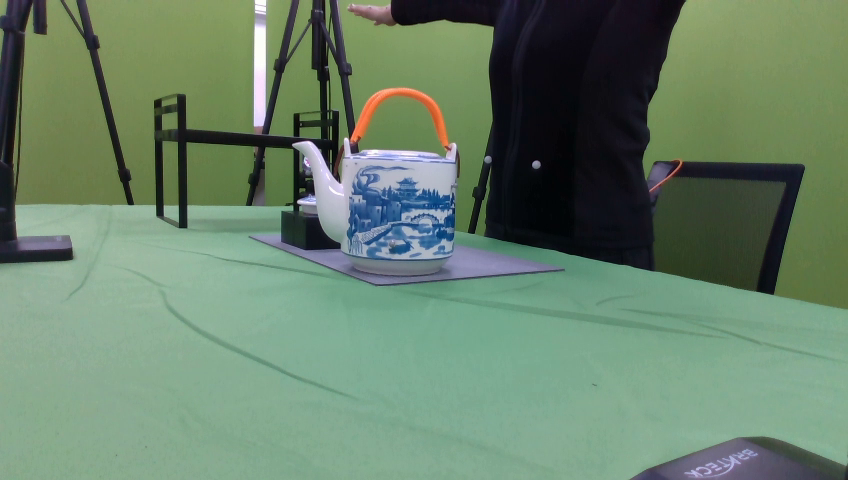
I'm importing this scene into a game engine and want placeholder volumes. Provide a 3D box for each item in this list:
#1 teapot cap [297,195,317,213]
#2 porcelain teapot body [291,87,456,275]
[{"bbox_3d":[-0.158,-0.065,0.951,0.085,0.044,0.085,0,9,0],"label":"teapot cap"},{"bbox_3d":[-0.061,-0.076,0.754,0.206,0.225,0.145,0,8,-12],"label":"porcelain teapot body"}]
